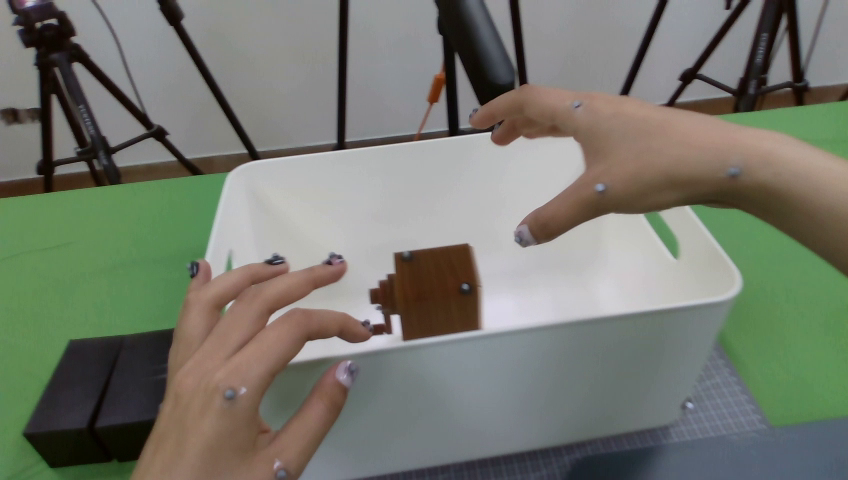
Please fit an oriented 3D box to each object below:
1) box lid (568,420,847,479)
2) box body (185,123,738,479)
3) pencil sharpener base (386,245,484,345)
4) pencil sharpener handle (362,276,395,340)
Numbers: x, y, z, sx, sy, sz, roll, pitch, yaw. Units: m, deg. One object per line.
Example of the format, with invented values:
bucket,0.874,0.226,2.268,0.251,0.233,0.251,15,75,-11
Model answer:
box lid,0.295,0.233,0.380,0.372,0.015,0.260,-7,39,-4
box body,0.022,0.046,0.518,0.364,0.162,0.251,-8,39,-4
pencil sharpener base,0.010,0.066,0.527,0.077,0.108,0.060,-7,39,-2
pencil sharpener handle,-0.042,0.062,0.518,0.030,0.068,0.035,-7,42,-2
